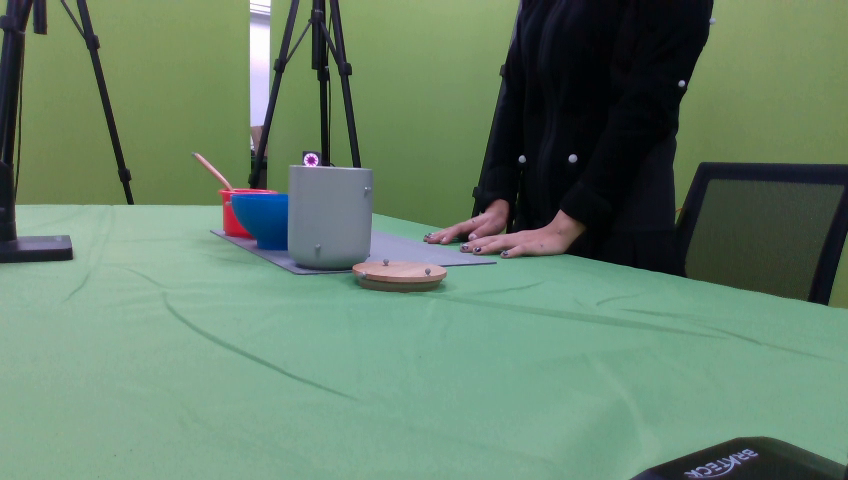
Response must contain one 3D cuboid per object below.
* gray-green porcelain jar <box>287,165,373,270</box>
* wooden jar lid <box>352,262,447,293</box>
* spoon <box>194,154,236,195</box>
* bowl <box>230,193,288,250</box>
[{"bbox_3d":[-0.119,-0.029,0.767,0.106,0.126,0.106,2,7,0],"label":"gray-green porcelain jar"},{"bbox_3d":[-0.028,0.042,0.686,0.108,0.020,0.108,3,8,0],"label":"wooden jar lid"},{"bbox_3d":[-0.334,-0.083,1.042,0.193,0.021,0.042,50,23,11],"label":"spoon"},{"bbox_3d":[-0.214,-0.028,0.912,0.151,0.077,0.151,2,8,0],"label":"bowl"}]
